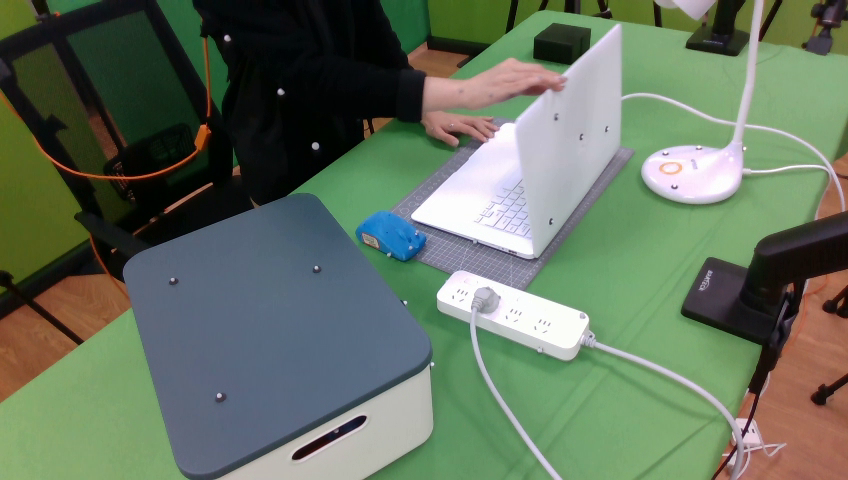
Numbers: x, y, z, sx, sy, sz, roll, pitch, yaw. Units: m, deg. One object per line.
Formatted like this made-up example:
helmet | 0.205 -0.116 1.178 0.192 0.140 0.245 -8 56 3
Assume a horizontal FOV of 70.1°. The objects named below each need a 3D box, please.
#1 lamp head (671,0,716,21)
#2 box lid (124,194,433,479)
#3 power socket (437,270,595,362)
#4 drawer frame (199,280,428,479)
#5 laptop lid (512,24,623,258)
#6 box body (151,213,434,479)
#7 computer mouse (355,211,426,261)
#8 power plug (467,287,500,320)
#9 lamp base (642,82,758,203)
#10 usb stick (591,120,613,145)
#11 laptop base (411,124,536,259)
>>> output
lamp head | 0.375 -0.373 0.807 0.122 0.113 0.112 -40 27 32
box lid | -0.182 0.076 0.689 0.264 0.015 0.368 -24 42 -20
power socket | 0.119 0.101 0.832 0.225 0.033 0.072 19 48 27
drawer frame | -0.134 0.176 0.729 0.202 0.083 0.211 -26 50 -19
laptop lid | 0.240 -0.163 0.948 0.013 0.243 0.357 11 41 36
box body | -0.175 0.131 0.738 0.255 0.161 0.360 -25 43 -19
computer mouse | -0.055 -0.010 0.980 0.116 0.041 0.063 27 49 29
power plug | 0.073 0.092 0.814 0.035 0.053 0.073 29 54 35
lamp base | 0.463 -0.174 0.992 0.179 0.181 0.159 -5 41 -1
usb stick | 0.336 -0.201 1.147 0.021 0.027 0.059 26 53 27
laptop base | 0.168 -0.101 1.073 0.234 0.023 0.355 17 45 30
